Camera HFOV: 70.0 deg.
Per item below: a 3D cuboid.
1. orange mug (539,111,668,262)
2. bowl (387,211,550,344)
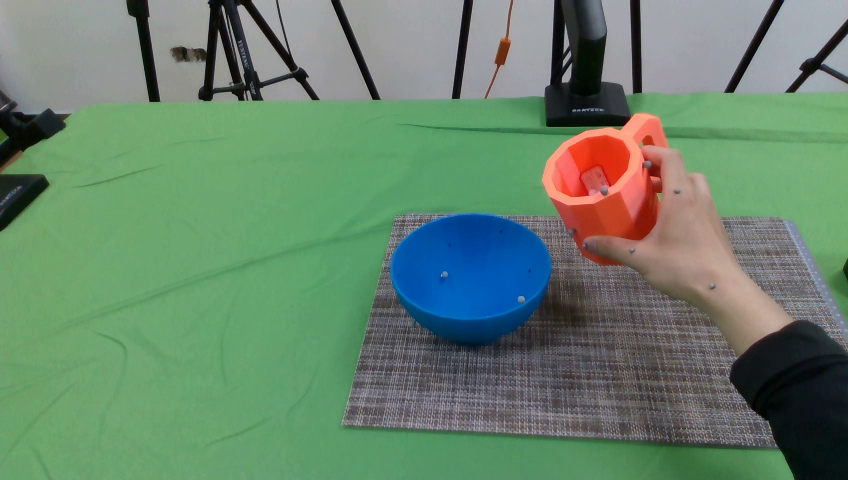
[{"bbox_3d":[0.175,-0.054,0.558,0.126,0.102,0.082,-52,43,-4],"label":"orange mug"},{"bbox_3d":[0.044,0.047,0.584,0.151,0.077,0.150,-4,39,3],"label":"bowl"}]
